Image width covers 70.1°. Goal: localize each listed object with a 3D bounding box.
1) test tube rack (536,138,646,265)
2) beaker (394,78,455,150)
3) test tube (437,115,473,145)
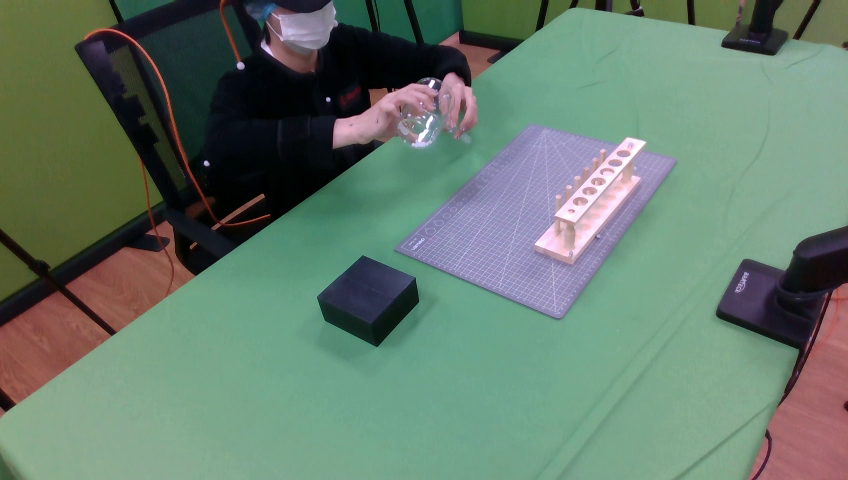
[{"bbox_3d":[0.268,-0.071,0.964,0.066,0.085,0.243,23,49,32],"label":"test tube rack"},{"bbox_3d":[0.000,-0.198,0.974,0.073,0.084,0.100,0,46,29],"label":"beaker"},{"bbox_3d":[0.058,-0.196,1.094,0.017,0.151,0.017,-3,82,24],"label":"test tube"}]
